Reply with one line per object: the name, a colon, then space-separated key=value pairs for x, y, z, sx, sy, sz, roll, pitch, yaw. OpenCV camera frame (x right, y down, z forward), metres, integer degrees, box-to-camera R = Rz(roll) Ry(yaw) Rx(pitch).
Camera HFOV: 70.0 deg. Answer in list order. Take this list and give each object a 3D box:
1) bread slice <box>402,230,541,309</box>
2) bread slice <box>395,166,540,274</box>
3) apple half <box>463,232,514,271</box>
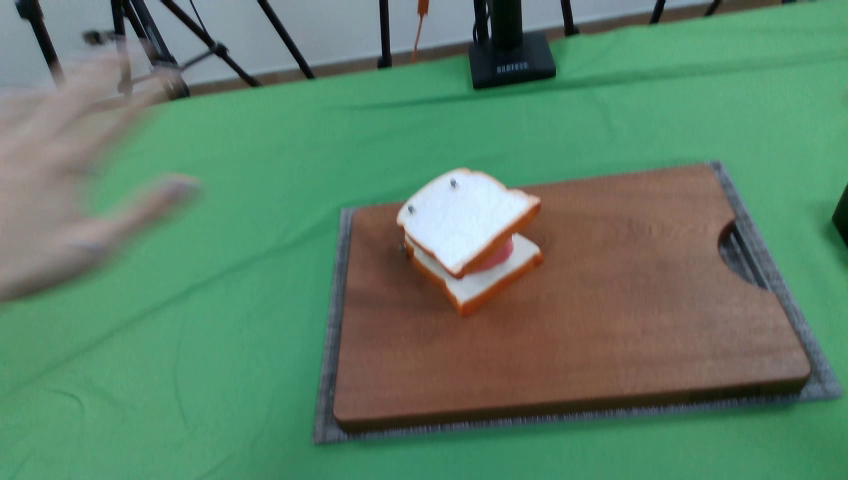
bread slice: x=0.038 y=0.004 z=0.623 sx=0.105 sy=0.019 sz=0.130 roll=-32 pitch=49 yaw=-20
bread slice: x=0.031 y=-0.026 z=0.592 sx=0.107 sy=0.018 sz=0.133 roll=-41 pitch=39 yaw=-15
apple half: x=0.046 y=-0.005 z=0.601 sx=0.081 sy=0.033 sz=0.080 roll=-5 pitch=49 yaw=6
